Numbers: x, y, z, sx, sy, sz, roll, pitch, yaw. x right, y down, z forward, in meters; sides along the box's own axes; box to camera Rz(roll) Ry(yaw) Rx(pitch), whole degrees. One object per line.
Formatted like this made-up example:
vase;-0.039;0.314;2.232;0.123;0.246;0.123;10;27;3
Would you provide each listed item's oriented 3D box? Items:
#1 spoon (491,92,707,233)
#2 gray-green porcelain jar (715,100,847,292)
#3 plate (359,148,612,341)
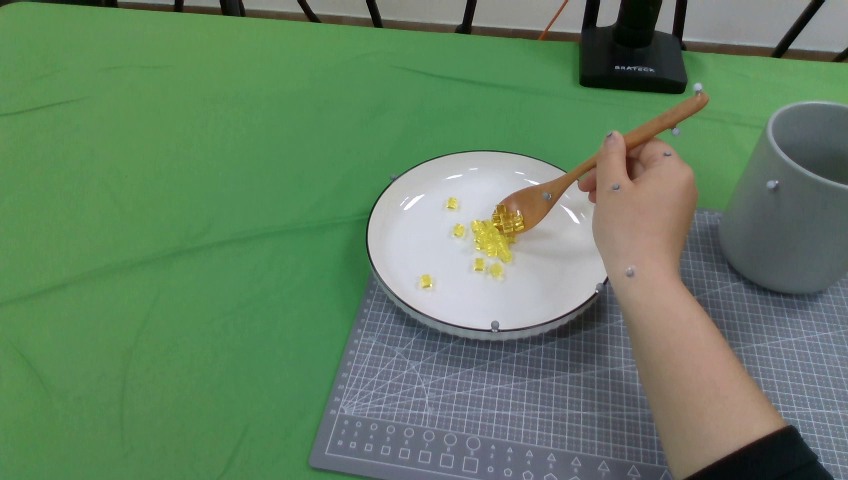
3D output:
spoon;0.128;-0.057;0.473;0.022;0.194;0.041;18;53;-36
gray-green porcelain jar;0.300;-0.029;0.481;0.106;0.127;0.105;0;48;1
plate;0.050;0.002;0.516;0.208;0.039;0.205;0;48;0
